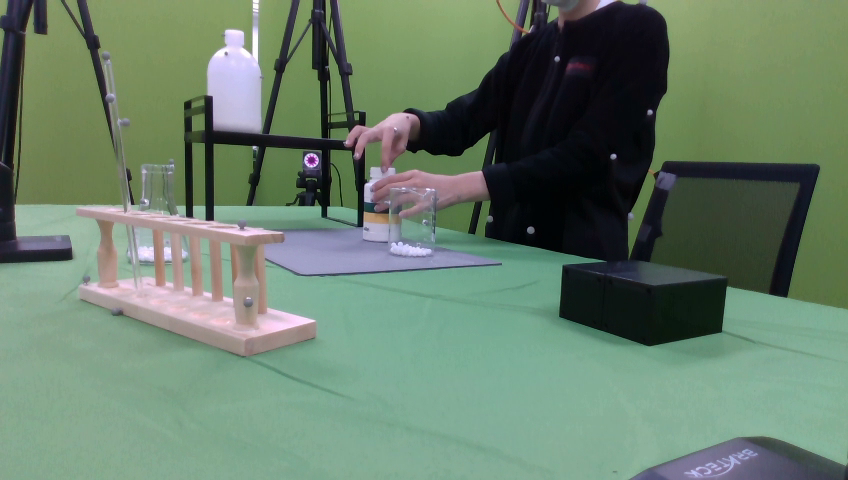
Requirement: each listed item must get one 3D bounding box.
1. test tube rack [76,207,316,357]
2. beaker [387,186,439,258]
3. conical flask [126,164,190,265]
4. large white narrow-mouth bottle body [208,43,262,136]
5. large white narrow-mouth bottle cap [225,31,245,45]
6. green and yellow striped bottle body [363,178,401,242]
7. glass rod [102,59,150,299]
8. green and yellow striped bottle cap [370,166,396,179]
[{"bbox_3d":[-0.196,0.023,0.500,0.241,0.085,0.067,8,9,36],"label":"test tube rack"},{"bbox_3d":[-0.015,-0.027,0.885,0.074,0.100,0.083,-1,8,-20],"label":"beaker"},{"bbox_3d":[-0.332,-0.033,0.756,0.075,0.122,0.075,2,7,0],"label":"conical flask"},{"bbox_3d":[-0.369,-0.304,1.181,0.102,0.194,0.101,2,9,0],"label":"large white narrow-mouth bottle body"},{"bbox_3d":[-0.365,-0.388,1.166,0.038,0.024,0.037,2,9,0],"label":"large white narrow-mouth bottle cap"},{"bbox_3d":[-0.072,-0.059,1.036,0.063,0.119,0.063,3,7,0],"label":"green and yellow striped bottle body"},{"bbox_3d":[-0.243,-0.045,0.496,0.008,0.199,0.008,-4,13,1],"label":"glass rod"},{"bbox_3d":[-0.070,-0.115,1.028,0.045,0.020,0.045,3,7,0],"label":"green and yellow striped bottle cap"}]
